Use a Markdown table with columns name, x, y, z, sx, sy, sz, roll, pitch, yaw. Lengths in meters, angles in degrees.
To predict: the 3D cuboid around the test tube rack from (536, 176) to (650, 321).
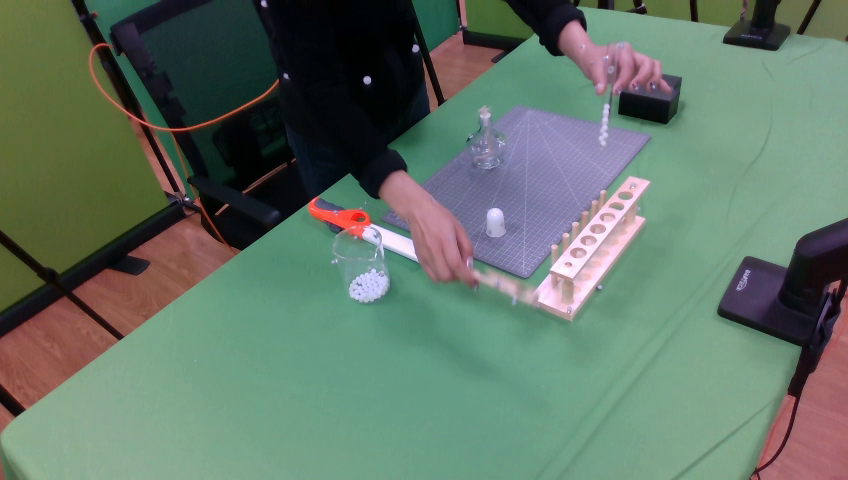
| name | x | y | z | sx | sy | sz | roll | pitch | yaw |
| --- | --- | --- | --- | --- | --- | --- | --- | --- | --- |
| test tube rack | 0.246 | 0.002 | 0.884 | 0.066 | 0.085 | 0.243 | 22 | 49 | 32 |

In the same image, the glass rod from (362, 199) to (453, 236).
| name | x | y | z | sx | sy | sz | roll | pitch | yaw |
| --- | --- | --- | --- | --- | --- | --- | --- | --- | --- |
| glass rod | -0.032 | -0.041 | 1.041 | 0.198 | 0.008 | 0.008 | 22 | 50 | 31 |

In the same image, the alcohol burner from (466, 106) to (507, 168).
| name | x | y | z | sx | sy | sz | roll | pitch | yaw |
| --- | --- | --- | --- | --- | --- | --- | --- | --- | --- |
| alcohol burner | 0.115 | -0.193 | 1.112 | 0.078 | 0.119 | 0.077 | -4 | 41 | 4 |

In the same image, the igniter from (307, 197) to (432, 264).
| name | x | y | z | sx | sy | sz | roll | pitch | yaw |
| --- | --- | --- | --- | --- | --- | --- | --- | --- | --- |
| igniter | -0.102 | -0.020 | 1.019 | 0.274 | 0.025 | 0.057 | 23 | 59 | 32 |

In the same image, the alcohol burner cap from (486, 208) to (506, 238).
| name | x | y | z | sx | sy | sz | roll | pitch | yaw |
| --- | --- | --- | --- | --- | --- | --- | --- | --- | --- |
| alcohol burner cap | 0.116 | -0.030 | 0.975 | 0.034 | 0.048 | 0.033 | -5 | 41 | 5 |

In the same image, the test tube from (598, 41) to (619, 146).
| name | x | y | z | sx | sy | sz | roll | pitch | yaw |
| --- | --- | --- | --- | --- | --- | --- | --- | --- | --- |
| test tube | 0.262 | -0.206 | 0.861 | 0.017 | 0.150 | 0.017 | -2 | 29 | 2 |

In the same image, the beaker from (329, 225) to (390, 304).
| name | x | y | z | sx | sy | sz | roll | pitch | yaw |
| --- | --- | --- | --- | --- | --- | --- | --- | --- | --- |
| beaker | -0.089 | 0.040 | 0.890 | 0.074 | 0.101 | 0.083 | -32 | 46 | -24 |

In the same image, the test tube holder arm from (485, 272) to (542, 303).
| name | x | y | z | sx | sy | sz | roll | pitch | yaw |
| --- | --- | --- | --- | --- | --- | --- | --- | --- | --- |
| test tube holder arm | 0.111 | 0.060 | 0.770 | 0.087 | 0.015 | 0.010 | 22 | 68 | 42 |

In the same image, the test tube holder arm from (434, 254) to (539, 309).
| name | x | y | z | sx | sy | sz | roll | pitch | yaw |
| --- | --- | --- | --- | --- | --- | --- | --- | --- | --- |
| test tube holder arm | 0.077 | 0.052 | 0.798 | 0.177 | 0.015 | 0.013 | 22 | 68 | 42 |
